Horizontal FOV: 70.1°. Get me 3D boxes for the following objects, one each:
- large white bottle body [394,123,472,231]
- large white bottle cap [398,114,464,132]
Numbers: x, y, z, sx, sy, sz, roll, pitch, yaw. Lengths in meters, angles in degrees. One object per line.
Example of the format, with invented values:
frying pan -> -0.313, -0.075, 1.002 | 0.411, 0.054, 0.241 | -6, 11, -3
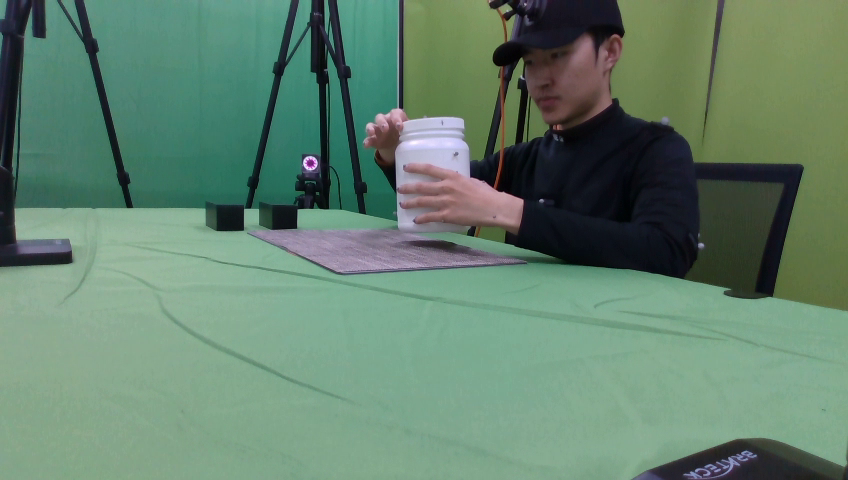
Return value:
large white bottle body -> 0.016, -0.110, 1.049 | 0.131, 0.184, 0.130 | -2, 3, 0
large white bottle cap -> 0.012, -0.198, 1.044 | 0.115, 0.018, 0.115 | -5, 3, 1
